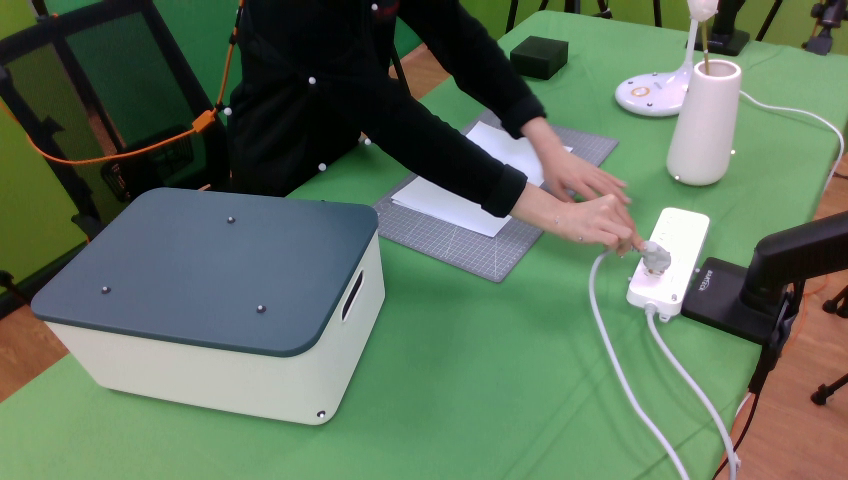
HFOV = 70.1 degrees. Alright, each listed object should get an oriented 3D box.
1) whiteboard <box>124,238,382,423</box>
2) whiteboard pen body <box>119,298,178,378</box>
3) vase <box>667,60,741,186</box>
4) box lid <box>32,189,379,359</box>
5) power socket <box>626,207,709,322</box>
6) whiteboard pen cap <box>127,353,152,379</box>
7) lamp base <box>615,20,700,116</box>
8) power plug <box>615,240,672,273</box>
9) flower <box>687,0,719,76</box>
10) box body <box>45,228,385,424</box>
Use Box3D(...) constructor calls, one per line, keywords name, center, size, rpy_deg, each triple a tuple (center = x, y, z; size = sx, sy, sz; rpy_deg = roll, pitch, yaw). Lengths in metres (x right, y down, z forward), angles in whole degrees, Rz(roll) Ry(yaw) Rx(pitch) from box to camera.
Box3D(name="whiteboard", center=(-0.242, 0.094, 0.809), size=(0.304, 0.144, 0.216), rpy_deg=(4, 45, 13))
Box3D(name="whiteboard pen body", center=(-0.396, 0.139, 0.869), size=(0.017, 0.017, 0.140), rpy_deg=(6, 46, 15))
Box3D(name="vase", center=(0.463, -0.189, 0.994), size=(0.098, 0.201, 0.097), rpy_deg=(-4, 40, 4))
Box3D(name="box lid", center=(-0.260, 0.025, 0.758), size=(0.370, 0.015, 0.263), rpy_deg=(5, 41, 14))
Box3D(name="power socket", center=(0.360, 0.026, 0.886), size=(0.072, 0.033, 0.227), rpy_deg=(17, 46, 26))
Box3D(name="whiteboard pen cap", center=(-0.385, 0.170, 0.820), size=(0.018, 0.018, 0.033), rpy_deg=(7, 42, 16))
Box3D(name="lamp base", center=(0.484, -0.364, 1.211), size=(0.180, 0.181, 0.159), rpy_deg=(-15, 41, -14))
Box3D(name="power plug", center=(0.307, 0.021, 0.841), size=(0.072, 0.053, 0.035), rpy_deg=(20, 54, 32))
Box3D(name="flower", center=(0.436, -0.242, 0.934), size=(0.038, 0.364, 0.043), rpy_deg=(-24, 49, 8))
Box3D(name="box body", center=(-0.254, 0.081, 0.807), size=(0.363, 0.161, 0.253), rpy_deg=(5, 42, 14))
